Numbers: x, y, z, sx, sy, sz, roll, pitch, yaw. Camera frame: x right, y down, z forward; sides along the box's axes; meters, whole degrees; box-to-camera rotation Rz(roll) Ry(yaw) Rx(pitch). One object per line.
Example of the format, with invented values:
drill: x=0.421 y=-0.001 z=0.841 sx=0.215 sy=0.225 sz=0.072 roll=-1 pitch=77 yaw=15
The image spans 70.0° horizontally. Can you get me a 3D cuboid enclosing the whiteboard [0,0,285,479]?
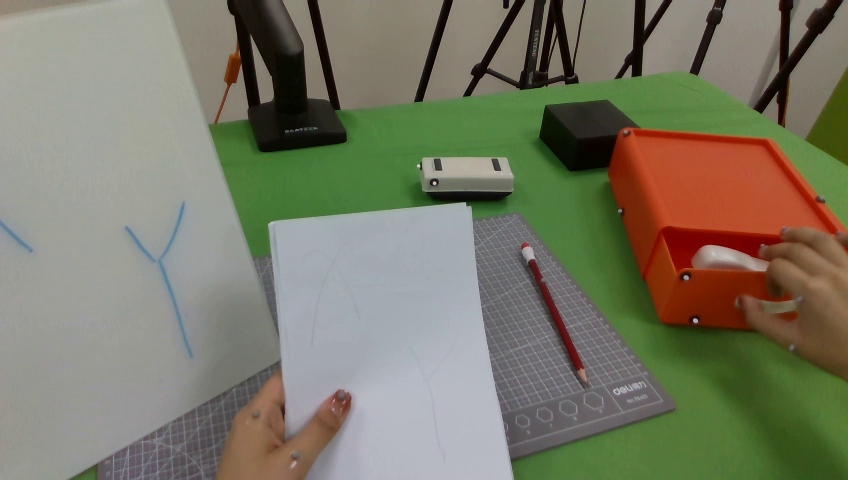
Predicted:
whiteboard: x=-0.270 y=-0.007 z=0.457 sx=0.217 sy=0.307 sz=0.142 roll=-27 pitch=29 yaw=-33

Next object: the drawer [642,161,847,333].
drawer: x=0.330 y=-0.002 z=0.648 sx=0.194 sy=0.074 sz=0.210 roll=4 pitch=38 yaw=0

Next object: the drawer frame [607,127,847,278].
drawer frame: x=0.333 y=-0.042 z=0.696 sx=0.202 sy=0.083 sz=0.211 roll=3 pitch=37 yaw=0

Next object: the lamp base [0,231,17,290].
lamp base: x=-0.479 y=-0.029 z=0.518 sx=0.178 sy=0.182 sz=0.160 roll=14 pitch=39 yaw=16

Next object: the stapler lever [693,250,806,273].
stapler lever: x=0.324 y=0.032 z=0.595 sx=0.118 sy=0.040 sz=0.026 roll=5 pitch=59 yaw=-1

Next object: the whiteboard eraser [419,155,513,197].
whiteboard eraser: x=0.051 y=-0.080 z=0.750 sx=0.113 sy=0.042 sz=0.055 roll=0 pitch=40 yaw=-6

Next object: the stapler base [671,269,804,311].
stapler base: x=0.322 y=0.047 z=0.618 sx=0.130 sy=0.024 sz=0.041 roll=4 pitch=60 yaw=0

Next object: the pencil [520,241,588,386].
pencil: x=0.125 y=0.064 z=0.595 sx=0.012 sy=0.012 sz=0.192 roll=-4 pitch=41 yaw=-10
